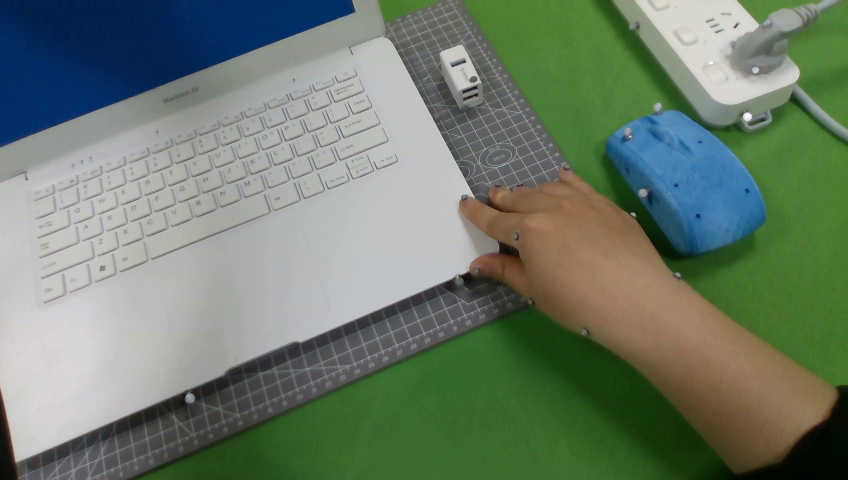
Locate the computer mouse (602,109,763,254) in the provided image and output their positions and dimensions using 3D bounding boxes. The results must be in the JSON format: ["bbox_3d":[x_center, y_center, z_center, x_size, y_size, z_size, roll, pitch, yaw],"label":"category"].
[{"bbox_3d":[0.176,-0.047,0.421,0.063,0.041,0.116,-23,57,-2],"label":"computer mouse"}]

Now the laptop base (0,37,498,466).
[{"bbox_3d":[-0.151,-0.012,0.455,0.354,0.023,0.233,-23,65,-5],"label":"laptop base"}]

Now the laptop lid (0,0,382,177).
[{"bbox_3d":[-0.220,-0.182,0.423,0.357,0.244,0.013,-24,47,-4],"label":"laptop lid"}]

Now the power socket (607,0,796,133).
[{"bbox_3d":[0.208,-0.181,0.490,0.072,0.033,0.224,-20,61,-2],"label":"power socket"}]

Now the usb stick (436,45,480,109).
[{"bbox_3d":[0.025,-0.137,0.492,0.021,0.027,0.058,-20,59,-2],"label":"usb stick"}]

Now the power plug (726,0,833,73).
[{"bbox_3d":[0.258,-0.141,0.439,0.072,0.053,0.035,-12,64,1],"label":"power plug"}]
